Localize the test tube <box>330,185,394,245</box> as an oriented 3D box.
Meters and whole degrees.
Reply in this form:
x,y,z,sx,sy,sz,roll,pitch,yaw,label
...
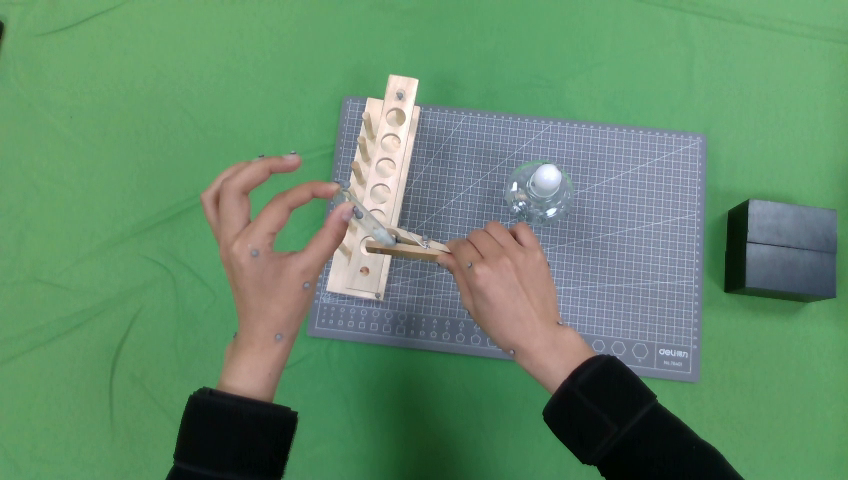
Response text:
x,y,z,sx,sy,sz,roll,pitch,yaw,label
-0.050,-0.018,0.530,0.017,0.151,0.017,-2,76,11,test tube

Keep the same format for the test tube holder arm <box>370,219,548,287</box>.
x,y,z,sx,sy,sz,roll,pitch,yaw,label
0.031,0.011,0.574,0.178,0.015,0.013,17,73,14,test tube holder arm

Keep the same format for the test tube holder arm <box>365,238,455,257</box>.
x,y,z,sx,sy,sz,roll,pitch,yaw,label
-0.013,0.007,0.582,0.087,0.015,0.010,3,69,9,test tube holder arm

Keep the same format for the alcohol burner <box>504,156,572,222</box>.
x,y,z,sx,sy,sz,roll,pitch,yaw,label
0.129,-0.060,0.672,0.078,0.119,0.077,0,80,1,alcohol burner

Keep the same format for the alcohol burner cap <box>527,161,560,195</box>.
x,y,z,sx,sy,sz,roll,pitch,yaw,label
0.127,-0.068,0.637,0.034,0.048,0.034,0,83,3,alcohol burner cap

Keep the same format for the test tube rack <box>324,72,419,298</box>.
x,y,z,sx,sy,sz,roll,pitch,yaw,label
-0.061,-0.062,0.687,0.067,0.085,0.241,10,79,2,test tube rack
